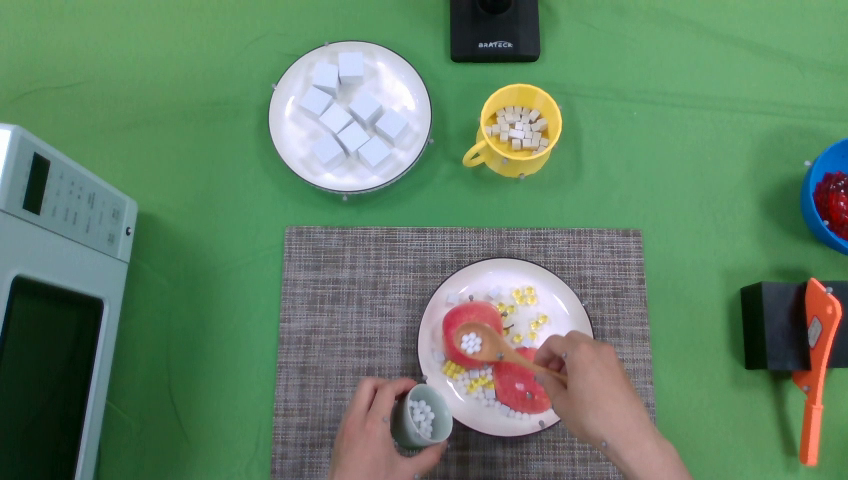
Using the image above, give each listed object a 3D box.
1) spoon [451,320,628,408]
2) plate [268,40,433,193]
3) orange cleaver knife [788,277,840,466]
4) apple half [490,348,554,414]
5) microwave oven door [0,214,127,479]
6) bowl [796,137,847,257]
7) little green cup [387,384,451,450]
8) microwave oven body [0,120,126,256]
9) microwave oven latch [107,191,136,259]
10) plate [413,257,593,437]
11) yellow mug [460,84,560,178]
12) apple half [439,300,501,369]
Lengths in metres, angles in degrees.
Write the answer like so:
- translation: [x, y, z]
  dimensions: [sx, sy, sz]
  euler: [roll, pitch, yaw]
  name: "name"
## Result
- translation: [0.112, 0.130, 0.618]
  dimensions: [0.192, 0.022, 0.041]
  euler: [20, 90, 32]
  name: "spoon"
- translation: [-0.092, -0.156, 0.781]
  dimensions: [0.208, 0.039, 0.206]
  euler: [0, 77, 0]
  name: "plate"
- translation: [0.438, 0.150, 0.691]
  dimensions: [0.012, 0.077, 0.212]
  euler: [2, 101, 4]
  name: "orange cleaver knife"
- translation: [0.115, 0.162, 0.700]
  dimensions: [0.081, 0.033, 0.081]
  euler: [0, 74, 1]
  name: "apple half"
- translation: [-0.387, 0.171, 0.583]
  dimensions: [0.039, 0.245, 0.354]
  euler: [3, 77, 1]
  name: "microwave oven door"
- translation: [0.518, -0.043, 0.737]
  dimensions: [0.151, 0.077, 0.150]
  euler: [0, 78, 0]
  name: "bowl"
- translation: [-0.007, 0.186, 0.627]
  dimensions: [0.062, 0.039, 0.061]
  euler: [26, 40, -24]
  name: "little green cup"
- translation: [-0.530, 0.122, 0.598]
  dimensions: [0.326, 0.261, 0.439]
  euler: [4, 78, 0]
  name: "microwave oven body"
- translation: [-0.370, -0.019, 0.730]
  dimensions: [0.030, 0.029, 0.079]
  euler: [6, 78, 1]
  name: "microwave oven latch"
- translation: [0.091, 0.124, 0.715]
  dimensions: [0.209, 0.038, 0.208]
  euler: [0, 78, 0]
  name: "plate"
- translation: [0.102, -0.128, 0.761]
  dimensions: [0.131, 0.064, 0.099]
  euler: [-31, 79, -6]
  name: "yellow mug"
- translation: [0.054, 0.108, 0.702]
  dimensions: [0.074, 0.053, 0.080]
  euler: [-1, 77, 2]
  name: "apple half"
